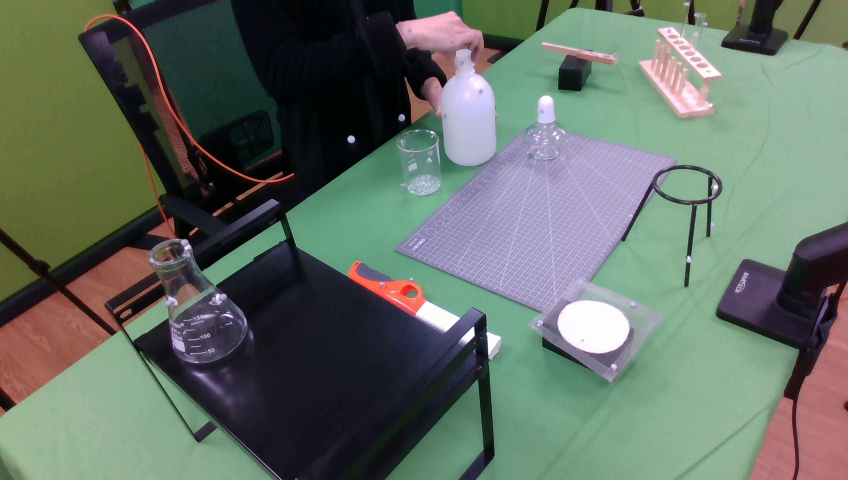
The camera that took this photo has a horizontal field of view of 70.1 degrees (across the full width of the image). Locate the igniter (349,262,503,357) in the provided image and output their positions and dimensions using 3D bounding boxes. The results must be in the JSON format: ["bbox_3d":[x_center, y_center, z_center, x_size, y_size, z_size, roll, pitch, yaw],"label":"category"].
[{"bbox_3d":[-0.008,0.093,0.870,0.274,0.025,0.057,24,60,33],"label":"igniter"}]

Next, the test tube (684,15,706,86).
[{"bbox_3d":[0.541,-0.378,1.215,0.017,0.151,0.017,-2,44,3],"label":"test tube"}]

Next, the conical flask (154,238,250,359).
[{"bbox_3d":[-0.225,0.055,0.597,0.075,0.122,0.075,-5,41,4],"label":"conical flask"}]

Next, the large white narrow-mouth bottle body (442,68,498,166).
[{"bbox_3d":[0.084,-0.242,1.121,0.102,0.195,0.101,-4,40,4],"label":"large white narrow-mouth bottle body"}]

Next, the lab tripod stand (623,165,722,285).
[{"bbox_3d":[0.365,-0.030,0.874,0.148,0.132,0.147,-6,41,6],"label":"lab tripod stand"}]

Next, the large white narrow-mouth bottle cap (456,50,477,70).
[{"bbox_3d":[0.074,-0.315,1.057,0.038,0.024,0.037,-4,40,4],"label":"large white narrow-mouth bottle cap"}]

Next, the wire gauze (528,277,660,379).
[{"bbox_3d":[0.213,0.103,0.763,0.124,0.011,0.122,30,52,35],"label":"wire gauze"}]

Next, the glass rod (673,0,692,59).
[{"bbox_3d":[0.537,-0.437,1.258,0.008,0.200,0.008,0,39,1],"label":"glass rod"}]

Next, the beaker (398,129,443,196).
[{"bbox_3d":[-0.002,-0.139,1.087,0.073,0.101,0.084,28,52,35],"label":"beaker"}]

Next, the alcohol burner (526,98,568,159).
[{"bbox_3d":[0.228,-0.210,1.118,0.078,0.119,0.077,-5,43,5],"label":"alcohol burner"}]

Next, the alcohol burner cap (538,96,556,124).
[{"bbox_3d":[0.222,-0.237,1.095,0.034,0.048,0.033,-7,34,5],"label":"alcohol burner cap"}]

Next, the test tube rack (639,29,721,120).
[{"bbox_3d":[0.527,-0.351,1.262,0.067,0.085,0.241,-8,40,1],"label":"test tube rack"}]

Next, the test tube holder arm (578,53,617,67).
[{"bbox_3d":[0.376,-0.393,1.314,0.087,0.015,0.010,26,51,32],"label":"test tube holder arm"}]

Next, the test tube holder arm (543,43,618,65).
[{"bbox_3d":[0.344,-0.413,1.340,0.177,0.015,0.013,25,51,31],"label":"test tube holder arm"}]
